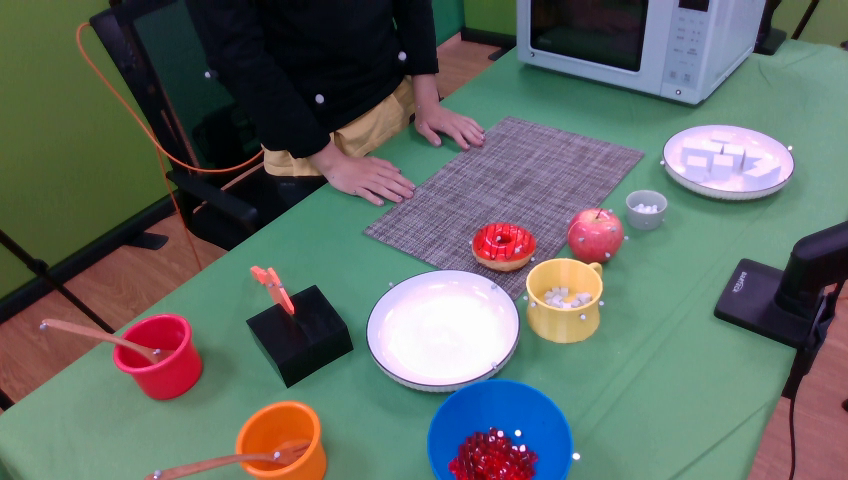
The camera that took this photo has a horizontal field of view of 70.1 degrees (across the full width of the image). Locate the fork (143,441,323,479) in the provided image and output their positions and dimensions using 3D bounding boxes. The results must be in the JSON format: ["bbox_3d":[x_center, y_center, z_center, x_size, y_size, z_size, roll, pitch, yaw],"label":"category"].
[{"bbox_3d":[-0.189,0.231,0.631,0.028,0.018,0.209,36,13,37],"label":"fork"}]

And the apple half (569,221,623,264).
[{"bbox_3d":[0.251,0.010,0.884,0.081,0.081,0.032,3,37,12],"label":"apple half"}]

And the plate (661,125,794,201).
[{"bbox_3d":[0.513,-0.128,1.035,0.207,0.039,0.206,-4,40,4],"label":"plate"}]

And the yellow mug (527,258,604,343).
[{"bbox_3d":[0.201,0.073,0.825,0.131,0.064,0.099,-32,46,-27],"label":"yellow mug"}]

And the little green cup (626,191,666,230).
[{"bbox_3d":[0.352,-0.046,0.963,0.061,0.039,0.061,-4,40,4],"label":"little green cup"}]

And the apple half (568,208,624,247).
[{"bbox_3d":[0.259,-0.014,0.914,0.080,0.075,0.053,0,36,15],"label":"apple half"}]

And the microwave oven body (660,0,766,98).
[{"bbox_3d":[0.472,-0.513,1.317,0.438,0.261,0.327,26,51,34],"label":"microwave oven body"}]

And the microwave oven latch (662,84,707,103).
[{"bbox_3d":[0.517,-0.296,1.204,0.078,0.029,0.030,27,52,35],"label":"microwave oven latch"}]

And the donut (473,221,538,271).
[{"bbox_3d":[0.124,0.008,0.923,0.099,0.048,0.098,-4,38,3],"label":"donut"}]

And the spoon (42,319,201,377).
[{"bbox_3d":[-0.385,0.135,0.779,0.195,0.021,0.041,28,37,-26],"label":"spoon"}]

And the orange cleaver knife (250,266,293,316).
[{"bbox_3d":[-0.221,0.071,0.873,0.012,0.077,0.210,-25,11,-21],"label":"orange cleaver knife"}]

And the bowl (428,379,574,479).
[{"bbox_3d":[0.082,0.233,0.644,0.151,0.077,0.150,-4,40,4],"label":"bowl"}]

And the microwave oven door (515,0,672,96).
[{"bbox_3d":[0.343,-0.454,1.259,0.353,0.245,0.039,26,51,33],"label":"microwave oven door"}]

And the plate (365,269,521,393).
[{"bbox_3d":[0.027,0.123,0.814,0.209,0.038,0.208,-4,40,4],"label":"plate"}]
